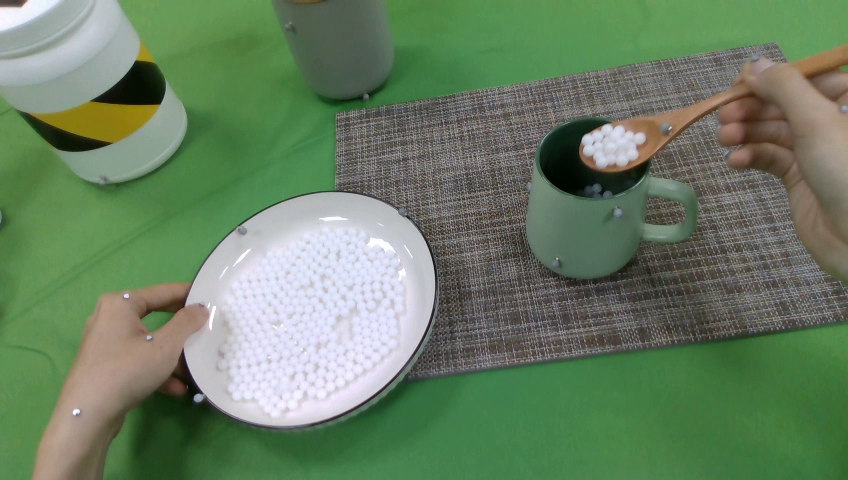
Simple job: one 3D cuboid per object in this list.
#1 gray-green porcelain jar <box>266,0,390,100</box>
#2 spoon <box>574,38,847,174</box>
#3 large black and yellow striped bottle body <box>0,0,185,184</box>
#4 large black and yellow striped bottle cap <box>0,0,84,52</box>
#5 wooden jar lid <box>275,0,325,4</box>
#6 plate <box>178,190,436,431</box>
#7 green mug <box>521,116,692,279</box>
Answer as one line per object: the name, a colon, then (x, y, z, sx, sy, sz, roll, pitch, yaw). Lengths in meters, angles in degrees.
gray-green porcelain jar: (-0.093, -0.216, 0.613, 0.106, 0.128, 0.105, -4, 56, 6)
spoon: (0.189, -0.088, 0.385, 0.193, 0.022, 0.041, -22, 55, 29)
large black and yellow striped bottle body: (-0.329, -0.156, 0.575, 0.130, 0.186, 0.129, -4, 57, 7)
large black and yellow striped bottle cap: (-0.341, -0.200, 0.505, 0.115, 0.019, 0.114, -4, 55, 6)
wooden jar lid: (-0.102, -0.251, 0.562, 0.108, 0.021, 0.107, -3, 59, 6)
plate: (-0.090, 0.052, 0.487, 0.209, 0.038, 0.207, -5, 57, 8)
green mug: (0.138, -0.027, 0.462, 0.125, 0.106, 0.092, 11, 59, 15)
